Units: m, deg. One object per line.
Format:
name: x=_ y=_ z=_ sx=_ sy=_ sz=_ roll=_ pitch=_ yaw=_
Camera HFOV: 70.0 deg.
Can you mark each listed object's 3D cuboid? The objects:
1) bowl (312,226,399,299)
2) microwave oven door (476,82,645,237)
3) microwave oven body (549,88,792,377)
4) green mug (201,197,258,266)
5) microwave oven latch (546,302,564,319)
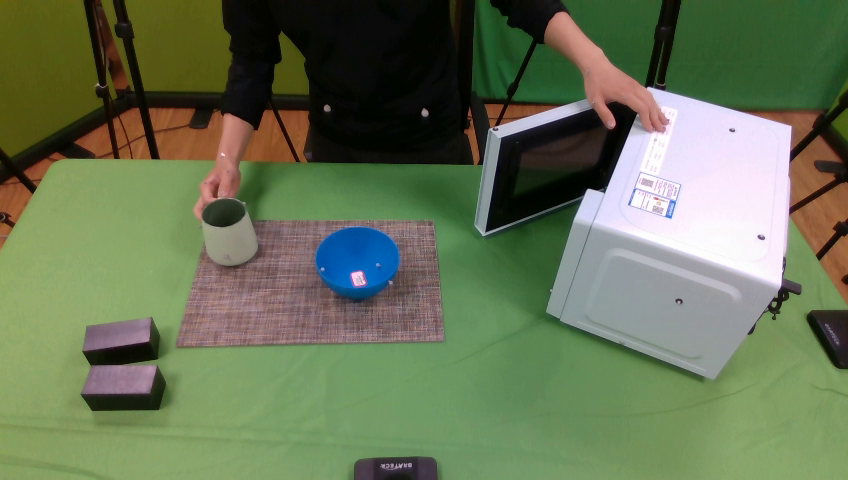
bowl: x=-0.120 y=0.054 z=1.091 sx=0.151 sy=0.077 sz=0.150 roll=2 pitch=46 yaw=-2
microwave oven door: x=0.269 y=-0.159 z=1.193 sx=0.356 sy=0.245 sz=0.039 roll=-21 pitch=49 yaw=-22
microwave oven body: x=0.456 y=-0.028 z=1.088 sx=0.325 sy=0.261 sz=0.440 roll=20 pitch=47 yaw=16
green mug: x=-0.366 y=-0.025 z=1.130 sx=0.092 sy=0.105 sz=0.124 roll=-13 pitch=48 yaw=-16
microwave oven latch: x=0.242 y=0.102 z=1.081 sx=0.030 sy=0.029 sz=0.079 roll=22 pitch=48 yaw=17
